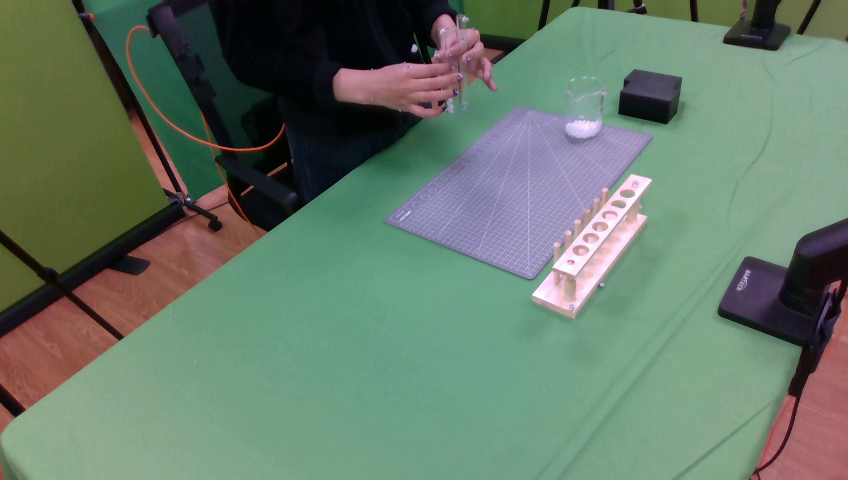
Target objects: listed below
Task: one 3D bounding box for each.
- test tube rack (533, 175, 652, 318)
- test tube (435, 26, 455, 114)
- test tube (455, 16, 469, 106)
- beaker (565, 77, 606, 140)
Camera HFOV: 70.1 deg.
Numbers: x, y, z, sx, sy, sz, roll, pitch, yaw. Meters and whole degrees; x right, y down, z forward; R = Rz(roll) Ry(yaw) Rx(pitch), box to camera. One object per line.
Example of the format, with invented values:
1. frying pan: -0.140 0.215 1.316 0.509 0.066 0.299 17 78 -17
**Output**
1. test tube rack: 0.250 -0.001 0.889 0.066 0.085 0.243 22 49 33
2. test tube: 0.036 -0.280 1.010 0.017 0.151 0.017 -7 35 6
3. test tube: 0.063 -0.292 0.997 0.017 0.151 0.017 -4 36 3
4. beaker: 0.304 -0.247 1.154 0.073 0.101 0.084 15 47 27
